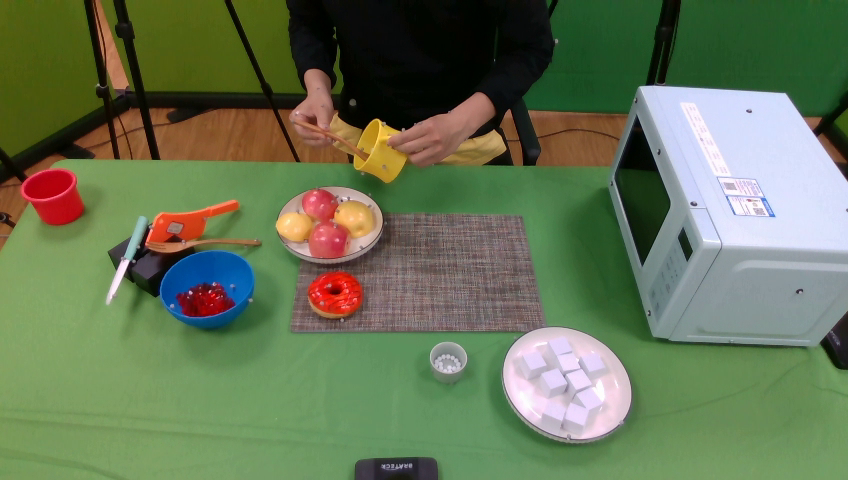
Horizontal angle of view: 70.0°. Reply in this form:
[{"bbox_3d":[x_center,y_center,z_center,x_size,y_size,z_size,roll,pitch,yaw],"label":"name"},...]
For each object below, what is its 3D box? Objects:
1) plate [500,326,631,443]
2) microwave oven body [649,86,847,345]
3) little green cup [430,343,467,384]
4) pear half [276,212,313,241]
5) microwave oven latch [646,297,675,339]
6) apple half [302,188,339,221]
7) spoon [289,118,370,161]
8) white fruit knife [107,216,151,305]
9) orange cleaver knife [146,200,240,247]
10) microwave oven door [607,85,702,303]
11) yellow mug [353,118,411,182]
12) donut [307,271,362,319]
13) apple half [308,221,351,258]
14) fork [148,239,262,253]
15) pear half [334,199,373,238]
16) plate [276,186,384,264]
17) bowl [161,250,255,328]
[{"bbox_3d":[0.224,0.234,0.978,0.208,0.039,0.206,2,46,-2],"label":"plate"},{"bbox_3d":[0.567,-0.053,1.118,0.326,0.261,0.439,2,45,-1],"label":"microwave oven body"},{"bbox_3d":[0.039,0.203,0.993,0.061,0.039,0.061,2,46,-2],"label":"little green cup"},{"bbox_3d":[-0.244,-0.035,1.178,0.070,0.031,0.088,40,42,1],"label":"pear half"},{"bbox_3d":[0.412,0.134,1.061,0.030,0.029,0.078,4,45,1],"label":"microwave oven latch"},{"bbox_3d":[-0.205,-0.076,1.217,0.081,0.033,0.081,18,46,-19],"label":"apple half"},{"bbox_3d":[-0.149,-0.176,1.085,0.194,0.021,0.041,26,24,-25],"label":"spoon"},{"bbox_3d":[-0.518,0.032,1.066,0.027,0.016,0.206,-19,45,19],"label":"white fruit knife"},{"bbox_3d":[-0.435,-0.033,1.157,0.012,0.077,0.211,31,26,18],"label":"orange cleaver knife"},{"bbox_3d":[0.423,-0.094,1.141,0.039,0.245,0.353,2,46,-1],"label":"microwave oven door"},{"bbox_3d":[-0.070,-0.165,1.092,0.064,0.130,0.099,21,74,-27],"label":"yellow mug"},{"bbox_3d":[-0.157,0.097,1.072,0.099,0.048,0.098,4,45,-4],"label":"donut"},{"bbox_3d":[-0.180,-0.005,1.150,0.074,0.053,0.080,14,43,8],"label":"apple half"},{"bbox_3d":[-0.398,0.008,1.117,0.208,0.019,0.028,-5,34,-37],"label":"fork"},{"bbox_3d":[-0.147,-0.059,1.210,0.076,0.056,0.109,-16,44,-25],"label":"pear half"},{"bbox_3d":[-0.184,-0.027,1.195,0.209,0.038,0.208,2,46,-2],"label":"plate"},{"bbox_3d":[-0.362,0.097,1.040,0.151,0.077,0.150,2,45,-2],"label":"bowl"}]
